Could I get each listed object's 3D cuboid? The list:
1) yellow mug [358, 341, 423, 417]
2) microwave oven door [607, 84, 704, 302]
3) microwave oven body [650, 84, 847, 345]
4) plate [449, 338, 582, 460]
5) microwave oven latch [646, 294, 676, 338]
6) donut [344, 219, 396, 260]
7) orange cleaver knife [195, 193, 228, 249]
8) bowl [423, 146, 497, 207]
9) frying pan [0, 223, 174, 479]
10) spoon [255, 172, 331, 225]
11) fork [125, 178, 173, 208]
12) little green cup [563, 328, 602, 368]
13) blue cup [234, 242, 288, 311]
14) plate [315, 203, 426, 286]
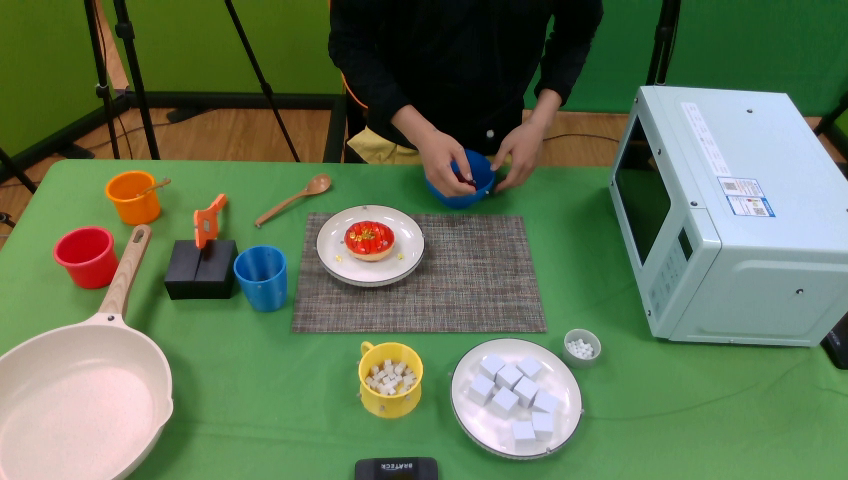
[{"bbox_3d":[-0.062,0.210,0.961,0.100,0.064,0.130,-29,54,-27],"label":"yellow mug"},{"bbox_3d":[0.424,-0.096,1.138,0.039,0.245,0.353,3,46,-1],"label":"microwave oven door"},{"bbox_3d":[0.568,-0.054,1.116,0.326,0.261,0.439,2,46,-1],"label":"microwave oven body"},{"bbox_3d":[0.141,0.251,0.955,0.208,0.039,0.206,2,46,-2],"label":"plate"},{"bbox_3d":[0.412,0.133,1.060,0.030,0.029,0.078,3,46,0],"label":"microwave oven latch"},{"bbox_3d":[-0.103,-0.003,1.157,0.099,0.048,0.098,3,43,-3],"label":"donut"},{"bbox_3d":[-0.406,-0.041,1.163,0.012,0.077,0.210,0,18,-3],"label":"orange cleaver knife"},{"bbox_3d":[0.073,-0.123,1.278,0.151,0.077,0.150,2,46,-2],"label":"bowl"},{"bbox_3d":[-0.505,0.169,0.941,0.307,0.103,0.485,5,54,-1],"label":"frying pan"},{"bbox_3d":[-0.272,-0.087,1.257,0.041,0.022,0.193,46,57,12],"label":"spoon"},{"bbox_3d":[-0.525,-0.090,1.154,0.207,0.019,0.028,-17,27,45],"label":"fork"},{"bbox_3d":[0.265,0.184,1.025,0.061,0.039,0.061,1,46,-1],"label":"little green cup"},{"bbox_3d":[-0.276,0.072,1.052,0.093,0.101,0.092,1,48,-1],"label":"blue cup"},{"bbox_3d":[-0.101,0.012,1.159,0.209,0.038,0.208,2,46,-2],"label":"plate"}]
